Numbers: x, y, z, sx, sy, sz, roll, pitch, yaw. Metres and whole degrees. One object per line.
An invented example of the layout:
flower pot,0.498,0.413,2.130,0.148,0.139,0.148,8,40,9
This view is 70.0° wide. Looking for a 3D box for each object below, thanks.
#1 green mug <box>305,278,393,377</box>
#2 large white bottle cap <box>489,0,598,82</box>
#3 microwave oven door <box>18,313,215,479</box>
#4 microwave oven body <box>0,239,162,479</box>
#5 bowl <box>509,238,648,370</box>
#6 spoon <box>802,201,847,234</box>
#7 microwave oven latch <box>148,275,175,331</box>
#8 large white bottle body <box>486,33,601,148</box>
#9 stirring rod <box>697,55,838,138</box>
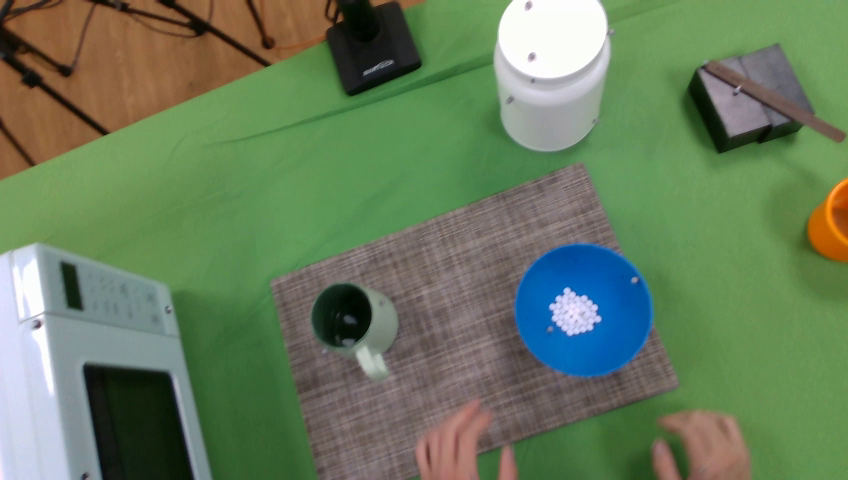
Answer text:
green mug,-0.083,0.108,0.737,0.092,0.105,0.124,-29,73,1
large white bottle cap,0.128,-0.226,0.652,0.114,0.018,0.114,-2,77,9
microwave oven door,-0.306,0.260,0.654,0.039,0.245,0.353,-22,74,5
microwave oven body,-0.455,0.278,0.681,0.326,0.262,0.439,-22,74,4
bowl,0.178,0.078,0.711,0.151,0.077,0.150,-2,76,10
spoon,0.510,-0.028,0.645,0.022,0.192,0.041,28,74,-29
microwave oven latch,-0.360,0.088,0.811,0.030,0.030,0.078,-22,75,4
large white bottle body,0.143,-0.205,0.733,0.130,0.186,0.130,-2,76,10
stirring rod,0.404,-0.171,0.716,0.175,0.006,0.014,36,120,16
